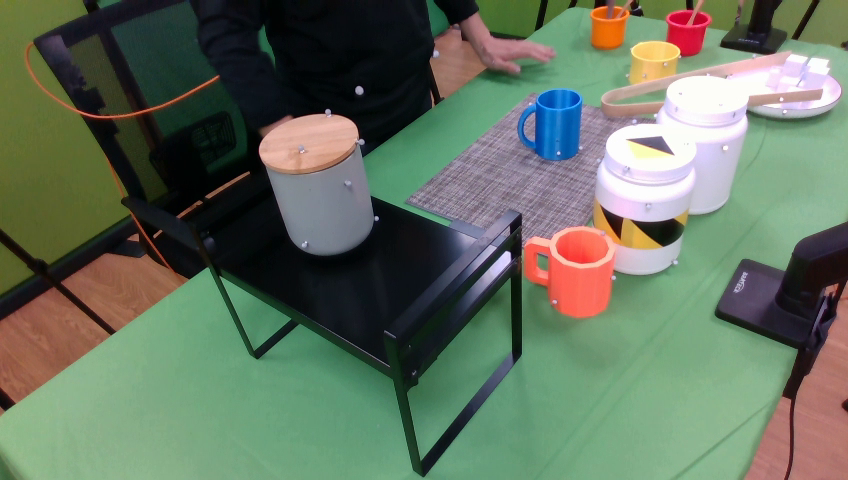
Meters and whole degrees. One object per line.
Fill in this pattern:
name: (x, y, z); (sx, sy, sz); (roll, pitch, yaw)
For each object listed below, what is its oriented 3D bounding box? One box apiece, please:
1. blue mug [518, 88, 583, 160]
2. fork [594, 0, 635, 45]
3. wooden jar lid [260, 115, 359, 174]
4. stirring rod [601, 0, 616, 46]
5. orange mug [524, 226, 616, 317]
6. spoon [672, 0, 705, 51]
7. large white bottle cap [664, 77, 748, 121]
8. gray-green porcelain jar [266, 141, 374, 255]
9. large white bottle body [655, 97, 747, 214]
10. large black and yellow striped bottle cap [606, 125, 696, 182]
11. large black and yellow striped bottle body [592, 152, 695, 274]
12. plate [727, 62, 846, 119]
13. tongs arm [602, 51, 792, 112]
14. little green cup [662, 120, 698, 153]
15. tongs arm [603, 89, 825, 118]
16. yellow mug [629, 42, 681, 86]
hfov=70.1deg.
blue mug: (0.233, -0.213, 1.121); (0.116, 0.106, 0.082); (-6, 41, 3)
fork: (0.484, -0.552, 1.447); (0.207, 0.019, 0.028); (-51, 46, 17)
wooden jar lid: (-0.124, -0.101, 0.662); (0.108, 0.021, 0.108); (-4, 41, 4)
stirring rod: (0.452, -0.554, 1.464); (0.014, 0.006, 0.176); (11, 86, 15)
orange mug: (0.201, 0.039, 0.845); (0.125, 0.101, 0.083); (18, 46, 21)
spoon: (0.628, -0.521, 1.395); (0.041, 0.022, 0.193); (30, 97, 39)
large white bottle cap: (0.421, -0.212, 0.905); (0.115, 0.018, 0.114); (-4, 40, 4)
gray-green porcelain jar: (-0.117, -0.054, 0.703); (0.106, 0.127, 0.105); (-4, 40, 4)
large white bottle body: (0.430, -0.148, 0.959); (0.130, 0.185, 0.130); (-4, 41, 4)
large black and yellow striped bottle cap: (0.305, -0.119, 0.816); (0.115, 0.019, 0.114); (-5, 41, 5)
large black and yellow striped bottle body: (0.313, -0.056, 0.872); (0.131, 0.185, 0.130); (-4, 41, 4)
plate: (0.709, -0.292, 1.197); (0.207, 0.039, 0.206); (-4, 40, 4)
tongs arm: (0.552, -0.320, 1.224); (0.384, 0.027, 0.050); (-10, 43, 7)
little green cup: (0.470, -0.191, 1.117); (0.061, 0.039, 0.061); (-5, 40, 5)
tongs arm: (0.546, -0.262, 1.163); (0.386, 0.028, 0.028); (-1, 49, 18)
yellow mug: (0.495, -0.389, 1.321); (0.100, 0.064, 0.130); (-14, 40, -6)
